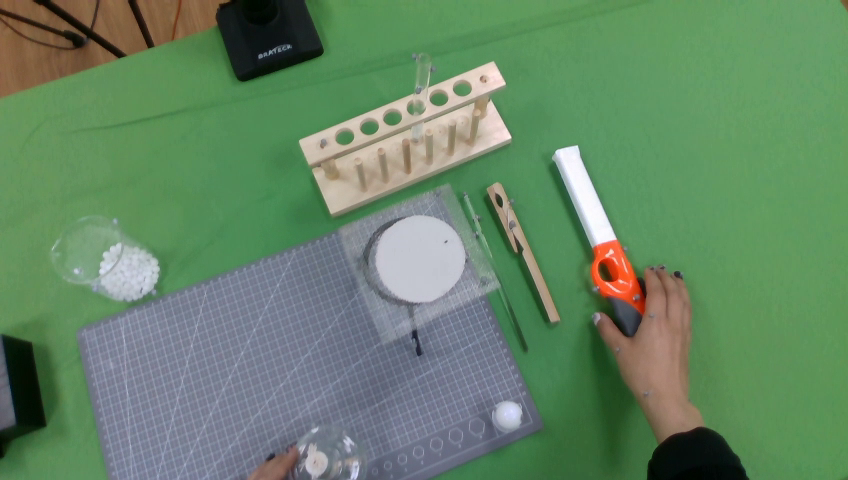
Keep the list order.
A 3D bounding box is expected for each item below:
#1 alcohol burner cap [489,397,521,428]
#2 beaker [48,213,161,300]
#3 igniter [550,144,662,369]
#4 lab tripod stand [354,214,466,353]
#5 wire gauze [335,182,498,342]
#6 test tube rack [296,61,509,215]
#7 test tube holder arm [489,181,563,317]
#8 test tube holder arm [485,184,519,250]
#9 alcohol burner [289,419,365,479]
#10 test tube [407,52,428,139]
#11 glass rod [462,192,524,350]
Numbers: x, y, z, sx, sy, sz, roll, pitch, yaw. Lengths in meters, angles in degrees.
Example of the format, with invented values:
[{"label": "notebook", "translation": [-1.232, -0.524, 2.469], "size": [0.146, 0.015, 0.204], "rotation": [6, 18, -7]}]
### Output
[{"label": "alcohol burner cap", "translation": [0.087, 0.180, 0.638], "size": [0.034, 0.048, 0.033], "rotation": [0, 71, 1]}, {"label": "beaker", "translation": [-0.349, 0.023, 0.671], "size": [0.084, 0.101, 0.073], "rotation": [-4, 71, 1]}, {"label": "igniter", "translation": [0.209, 0.012, 0.702], "size": [0.057, 0.025, 0.274], "rotation": [-13, 72, -14]}, {"label": "lab tripod stand", "translation": [-0.019, 0.037, 0.639], "size": [0.148, 0.132, 0.147], "rotation": [-1, 72, 3]}, {"label": "wire gauze", "translation": [-0.009, 0.016, 0.575], "size": [0.121, 0.011, 0.124], "rotation": [-23, 72, -5]}, {"label": "test tube rack", "translation": [-0.019, -0.119, 0.719], "size": [0.242, 0.086, 0.066], "rotation": [-24, 72, -6]}, {"label": "test tube holder arm", "translation": [0.117, 0.008, 0.707], "size": [0.013, 0.015, 0.177], "rotation": [-34, 70, 28]}, {"label": "test tube holder arm", "translation": [0.096, -0.028, 0.723], "size": [0.010, 0.015, 0.087], "rotation": [-33, 71, 29]}, {"label": "alcohol burner", "translation": [-0.098, 0.214, 0.593], "size": [0.078, 0.120, 0.077], "rotation": [-1, 70, 3]}, {"label": "test tube", "translation": [-0.008, -0.156, 0.679], "size": [0.017, 0.151, 0.017], "rotation": [2, 68, -4]}, {"label": "glass rod", "translation": [0.080, 0.033, 0.708], "size": [0.008, 0.008, 0.198], "rotation": [-18, 75, -5]}]
